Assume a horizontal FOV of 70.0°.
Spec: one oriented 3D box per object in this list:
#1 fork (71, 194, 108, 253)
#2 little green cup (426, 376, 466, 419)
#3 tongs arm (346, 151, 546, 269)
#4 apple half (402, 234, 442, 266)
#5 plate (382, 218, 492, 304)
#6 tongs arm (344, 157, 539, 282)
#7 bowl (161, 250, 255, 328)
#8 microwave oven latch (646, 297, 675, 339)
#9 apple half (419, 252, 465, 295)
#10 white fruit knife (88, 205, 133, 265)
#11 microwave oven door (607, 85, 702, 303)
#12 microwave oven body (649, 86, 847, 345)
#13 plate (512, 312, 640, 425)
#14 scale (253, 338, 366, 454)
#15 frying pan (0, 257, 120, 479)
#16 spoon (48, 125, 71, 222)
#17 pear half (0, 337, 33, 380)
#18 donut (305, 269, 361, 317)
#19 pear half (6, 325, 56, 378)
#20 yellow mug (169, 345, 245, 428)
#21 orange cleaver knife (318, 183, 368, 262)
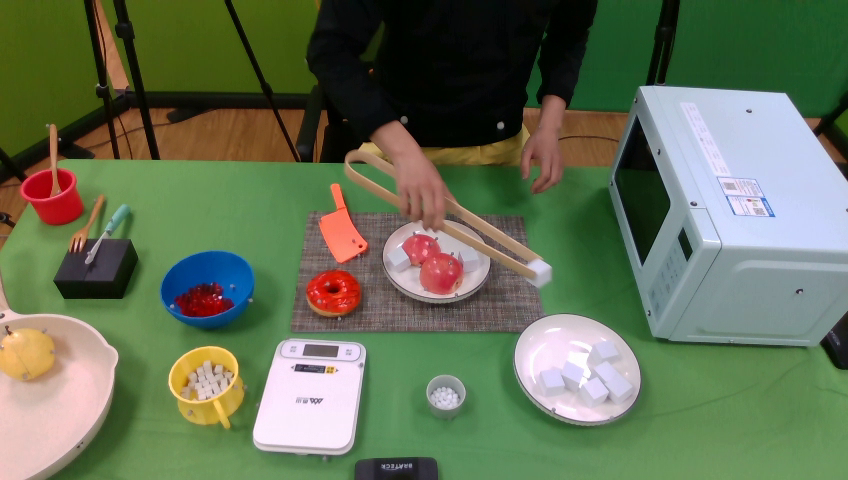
[{"bbox_3d":[-0.634,-0.036,1.158,0.028,0.019,0.206,-8,31,-8],"label":"fork"},{"bbox_3d":[0.033,0.248,0.950,0.061,0.039,0.061,2,46,-2],"label":"little green cup"},{"bbox_3d":[0.033,-0.049,1.043,0.384,0.026,0.050,33,54,9],"label":"tongs arm"},{"bbox_3d":[-0.004,0.014,1.159,0.081,0.033,0.081,4,44,-4],"label":"apple half"},{"bbox_3d":[0.023,0.042,1.143,0.209,0.038,0.208,2,46,-2],"label":"plate"},{"bbox_3d":[0.022,-0.033,1.029,0.387,0.028,0.028,30,57,7],"label":"tongs arm"},{"bbox_3d":[-0.362,0.098,1.039,0.151,0.077,0.150,2,45,-2],"label":"bowl"},{"bbox_3d":[0.412,0.134,1.061,0.030,0.029,0.078,4,45,1],"label":"microwave oven latch"},{"bbox_3d":[0.035,0.056,1.109,0.074,0.053,0.081,38,55,25],"label":"apple half"},{"bbox_3d":[-0.584,-0.013,1.129,0.016,0.027,0.206,0,32,-5],"label":"white fruit knife"},{"bbox_3d":[0.423,-0.094,1.140,0.039,0.245,0.353,2,46,-1],"label":"microwave oven door"},{"bbox_3d":[0.567,-0.053,1.118,0.326,0.261,0.439,2,45,-1],"label":"microwave oven body"},{"bbox_3d":[0.246,0.213,0.999,0.208,0.039,0.206,2,46,-2],"label":"plate"},{"bbox_3d":[-0.175,0.236,0.951,0.149,0.032,0.199,4,45,-1],"label":"scale"},{"bbox_3d":[-0.647,0.164,0.936,0.307,0.103,0.485,-19,58,-22],"label":"frying pan"},{"bbox_3d":[-0.718,-0.131,1.188,0.041,0.021,0.193,-3,90,-7],"label":"spoon"},{"bbox_3d":[-0.631,0.184,0.921,0.070,0.088,0.031,29,49,19],"label":"pear half"},{"bbox_3d":[-0.160,0.094,1.075,0.099,0.048,0.098,3,46,-3],"label":"donut"},{"bbox_3d":[-0.608,0.158,0.935,0.076,0.110,0.056,31,51,20],"label":"pear half"},{"bbox_3d":[-0.322,0.230,0.922,0.100,0.064,0.130,-24,53,-25],"label":"yellow mug"},{"bbox_3d":[-0.173,-0.037,1.218,0.077,0.012,0.210,-16,50,-12],"label":"orange cleaver knife"}]
